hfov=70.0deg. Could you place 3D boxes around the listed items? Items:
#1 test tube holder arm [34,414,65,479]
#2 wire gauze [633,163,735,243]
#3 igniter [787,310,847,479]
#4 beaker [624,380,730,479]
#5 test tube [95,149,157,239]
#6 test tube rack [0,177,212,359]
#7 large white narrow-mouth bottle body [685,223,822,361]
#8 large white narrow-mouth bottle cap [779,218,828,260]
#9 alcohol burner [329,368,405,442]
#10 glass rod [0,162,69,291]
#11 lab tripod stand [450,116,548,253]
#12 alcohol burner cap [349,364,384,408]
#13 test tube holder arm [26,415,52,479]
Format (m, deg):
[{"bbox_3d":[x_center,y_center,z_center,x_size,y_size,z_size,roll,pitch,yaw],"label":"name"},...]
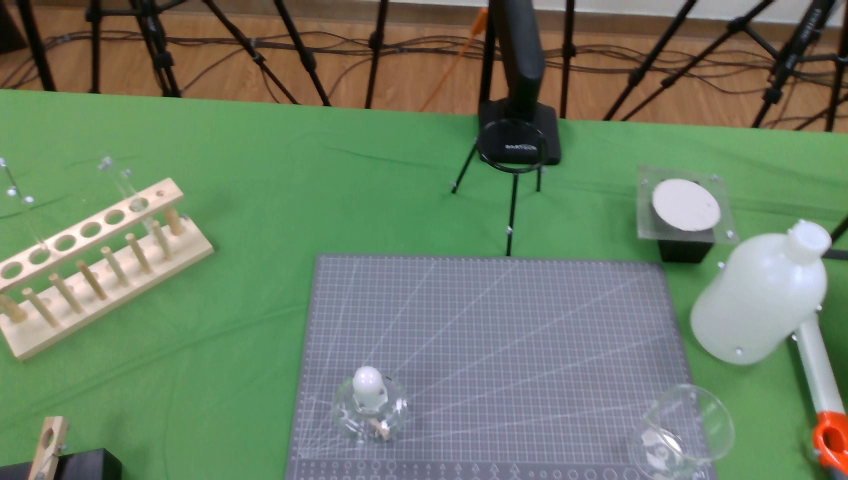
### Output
[{"bbox_3d":[-0.350,0.246,0.540,0.013,0.015,0.176,-6,59,2],"label":"test tube holder arm"},{"bbox_3d":[0.334,-0.048,0.788,0.121,0.011,0.124,8,54,3],"label":"wire gauze"},{"bbox_3d":[0.445,0.198,0.668,0.057,0.025,0.274,12,54,-7],"label":"igniter"},{"bbox_3d":[0.247,0.196,0.612,0.084,0.101,0.073,6,54,3],"label":"beaker"},{"bbox_3d":[-0.339,-0.049,0.704,0.017,0.151,0.017,-1,54,2],"label":"test tube"},{"bbox_3d":[-0.383,0.029,0.707,0.242,0.086,0.066,-33,63,-23],"label":"test tube rack"},{"bbox_3d":[0.369,0.051,0.666,0.102,0.196,0.101,1,54,-1],"label":"large white narrow-mouth bottle body"},{"bbox_3d":[0.372,-0.001,0.596,0.038,0.024,0.037,1,54,-2],"label":"large white narrow-mouth bottle cap"},{"bbox_3d":[-0.057,0.159,0.613,0.078,0.120,0.077,3,53,-3],"label":"alcohol burner"},{"bbox_3d":[-0.415,-0.004,0.649,0.008,0.201,0.008,4,46,-4],"label":"glass rod"},{"bbox_3d":[0.105,-0.079,0.781,0.148,0.132,0.147,2,56,-3],"label":"lab tripod stand"},{"bbox_3d":[-0.057,0.139,0.583,0.034,0.048,0.033,-2,54,3],"label":"alcohol burner cap"},{"bbox_3d":[-0.358,0.208,0.563,0.010,0.015,0.087,-5,59,2],"label":"test tube holder arm"}]
